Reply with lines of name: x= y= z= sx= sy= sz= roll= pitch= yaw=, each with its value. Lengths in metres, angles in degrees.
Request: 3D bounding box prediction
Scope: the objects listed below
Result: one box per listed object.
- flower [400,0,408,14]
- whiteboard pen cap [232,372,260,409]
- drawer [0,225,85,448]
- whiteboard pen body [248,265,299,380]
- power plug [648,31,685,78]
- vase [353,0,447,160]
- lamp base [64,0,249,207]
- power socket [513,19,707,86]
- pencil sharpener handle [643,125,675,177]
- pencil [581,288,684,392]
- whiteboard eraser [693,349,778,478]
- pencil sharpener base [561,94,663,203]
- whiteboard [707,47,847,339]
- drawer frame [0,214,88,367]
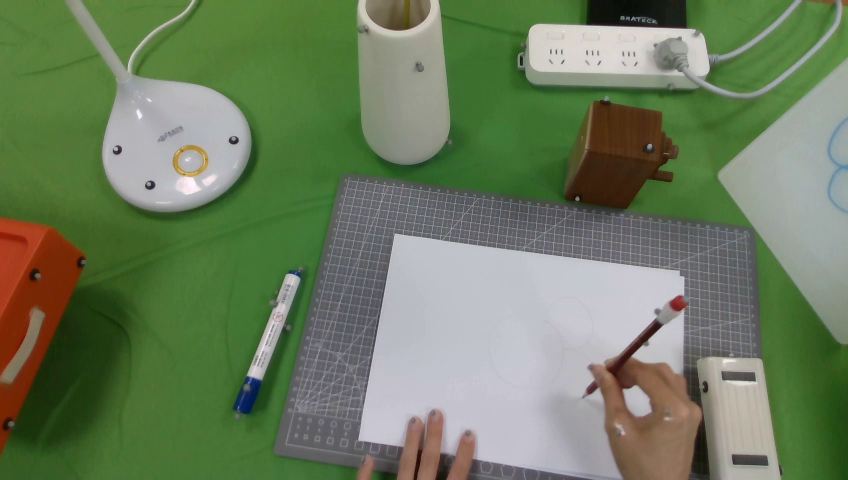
flower: x=-0.017 y=-0.212 z=0.534 sx=0.038 sy=0.365 sz=0.043 roll=-4 pitch=49 yaw=-9
whiteboard pen cap: x=-0.166 y=0.140 z=0.567 sx=0.018 sy=0.018 sz=0.033 roll=13 pitch=62 yaw=6
drawer: x=-0.440 y=0.067 z=0.521 sx=0.211 sy=0.074 sz=0.193 roll=10 pitch=69 yaw=4
whiteboard pen body: x=-0.150 y=0.089 z=0.592 sx=0.017 sy=0.017 sz=0.140 roll=12 pitch=64 yaw=5
power plug: x=0.271 y=-0.203 z=0.685 sx=0.035 sy=0.053 sz=0.072 roll=12 pitch=69 yaw=5
vase: x=-0.026 y=-0.164 z=0.603 sx=0.098 sy=0.201 sz=0.097 roll=0 pitch=66 yaw=1
lamp base: x=-0.285 y=-0.146 z=0.604 sx=0.178 sy=0.181 sz=0.160 roll=39 pitch=72 yaw=18
power socket: x=0.221 y=-0.222 z=0.718 sx=0.227 sy=0.033 sz=0.071 roll=2 pitch=68 yaw=0
pencil sharpener handle: x=0.241 y=-0.086 z=0.609 sx=0.030 sy=0.068 sz=0.036 roll=10 pitch=66 yaw=4
pencil: x=0.163 y=0.090 z=0.498 sx=0.012 sy=0.195 sz=0.012 roll=4 pitch=56 yaw=-6
whiteboard eraser: x=0.282 y=0.157 z=0.554 sx=0.055 sy=0.042 sz=0.112 roll=3 pitch=68 yaw=-1
pencil sharpener base: x=0.191 y=-0.090 z=0.623 sx=0.076 sy=0.108 sz=0.061 roll=10 pitch=67 yaw=4
whiteboard: x=0.466 y=-0.081 z=0.547 sx=0.144 sy=0.307 sz=0.215 roll=-15 pitch=66 yaw=-27
drawer frame: x=-0.446 y=0.068 z=0.522 sx=0.213 sy=0.083 sz=0.200 roll=11 pitch=69 yaw=2
